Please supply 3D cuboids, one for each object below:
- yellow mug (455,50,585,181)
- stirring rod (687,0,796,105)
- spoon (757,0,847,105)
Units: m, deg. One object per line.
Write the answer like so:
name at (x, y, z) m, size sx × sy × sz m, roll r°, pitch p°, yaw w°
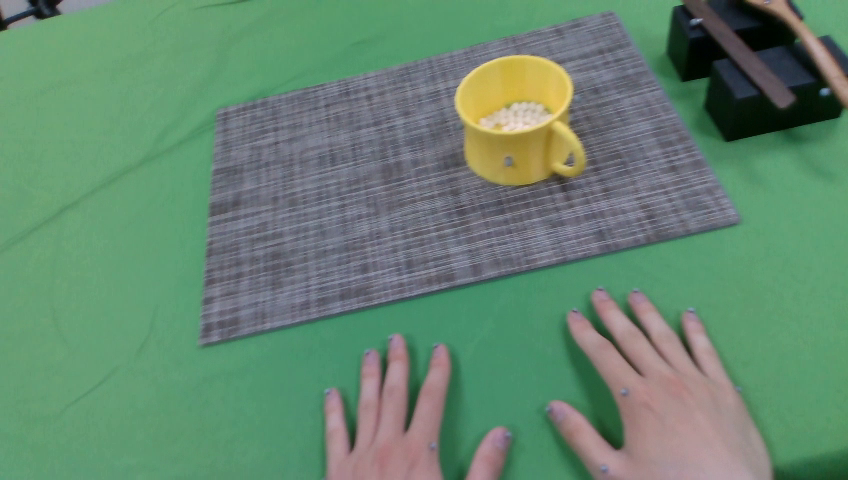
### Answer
yellow mug at (0.091, -0.103, 0.532) m, size 0.100 × 0.064 × 0.129 m, roll -39°, pitch 57°, yaw -15°
stirring rod at (0.263, -0.176, 0.519) m, size 0.014 × 0.006 × 0.174 m, roll -41°, pitch 47°, yaw 30°
spoon at (0.314, -0.182, 0.510) m, size 0.041 × 0.022 × 0.191 m, roll -12°, pitch 56°, yaw 2°
